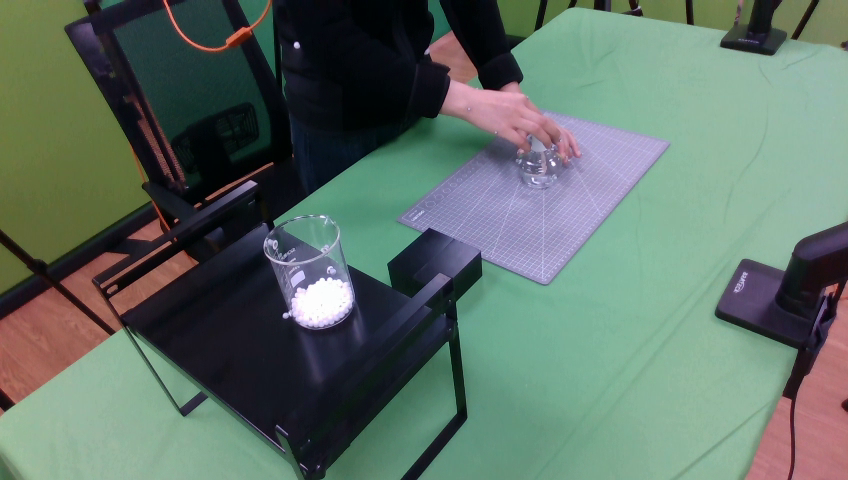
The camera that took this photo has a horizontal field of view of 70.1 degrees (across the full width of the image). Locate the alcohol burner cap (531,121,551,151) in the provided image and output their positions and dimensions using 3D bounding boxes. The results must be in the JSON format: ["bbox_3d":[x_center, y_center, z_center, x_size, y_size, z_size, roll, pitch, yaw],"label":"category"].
[{"bbox_3d":[0.196,-0.178,1.025,0.034,0.048,0.033,-9,38,8],"label":"alcohol burner cap"}]

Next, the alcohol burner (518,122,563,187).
[{"bbox_3d":[0.201,-0.151,1.046,0.078,0.120,0.077,-6,42,6],"label":"alcohol burner"}]

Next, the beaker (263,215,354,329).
[{"bbox_3d":[-0.112,0.034,0.616,0.073,0.101,0.084,13,44,22],"label":"beaker"}]
